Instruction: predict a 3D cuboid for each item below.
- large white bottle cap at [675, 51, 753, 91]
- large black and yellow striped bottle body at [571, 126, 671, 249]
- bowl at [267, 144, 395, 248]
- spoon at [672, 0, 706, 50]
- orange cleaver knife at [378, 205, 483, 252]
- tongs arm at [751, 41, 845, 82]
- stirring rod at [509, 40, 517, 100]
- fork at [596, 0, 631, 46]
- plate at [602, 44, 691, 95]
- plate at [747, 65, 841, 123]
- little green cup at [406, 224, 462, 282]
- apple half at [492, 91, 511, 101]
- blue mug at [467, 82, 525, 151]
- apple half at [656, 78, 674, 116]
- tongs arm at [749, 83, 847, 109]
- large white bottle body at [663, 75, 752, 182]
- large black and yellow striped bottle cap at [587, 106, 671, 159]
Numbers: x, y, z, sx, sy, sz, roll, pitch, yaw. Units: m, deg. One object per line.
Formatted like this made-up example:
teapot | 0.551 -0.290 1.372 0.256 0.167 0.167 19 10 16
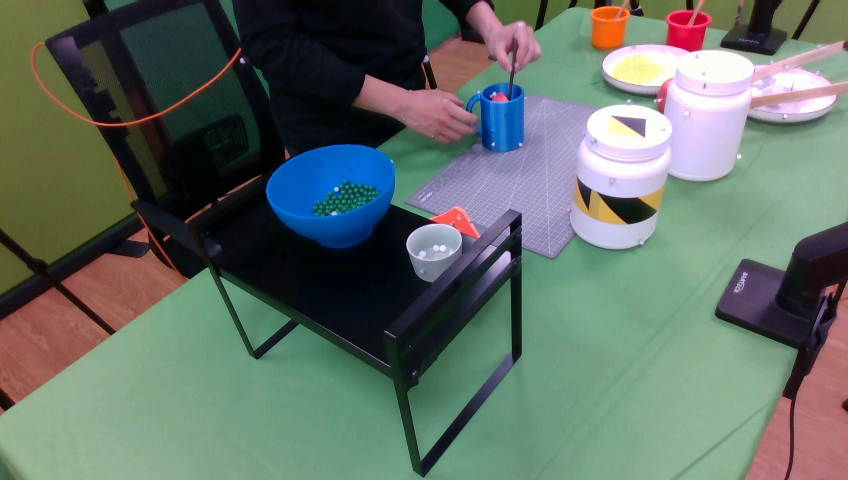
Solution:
large white bottle cap | 0.463 -0.271 0.967 0.115 0.018 0.114 -4 40 3
large black and yellow striped bottle body | 0.296 -0.093 0.915 0.131 0.185 0.130 -3 42 3
bowl | -0.104 -0.043 0.726 0.151 0.077 0.150 -4 40 4
spoon | 0.629 -0.520 1.394 0.041 0.022 0.193 30 97 34
orange cleaver knife | 0.005 -0.010 0.944 0.210 0.077 0.012 -5 23 47
tongs arm | 0.708 -0.331 1.193 0.386 0.026 0.050 -18 45 -16
stirring rod | 0.164 -0.290 1.131 0.006 0.177 0.014 -4 44 -2
fork | 0.481 -0.555 1.452 0.028 0.019 0.207 41 104 40
plate | 0.494 -0.366 1.317 0.209 0.038 0.208 -4 40 4
plate | 0.695 -0.282 1.189 0.207 0.039 0.206 -4 40 4
little green cup | 0.012 0.015 0.668 0.061 0.039 0.061 -4 40 4
apple half | 0.144 -0.240 1.154 0.033 0.081 0.080 -14 40 -21
blue mug | 0.138 -0.241 1.169 0.116 0.106 0.082 11 44 21
apple half | 0.488 -0.281 1.192 0.053 0.075 0.081 24 54 37
tongs arm | 0.735 -0.280 1.134 0.388 0.028 0.028 -9 47 -5
large white bottle body | 0.472 -0.207 1.022 0.130 0.185 0.130 -4 41 4
large black and yellow striped bottle cap | 0.290 -0.154 0.858 0.115 0.019 0.114 -4 42 4
